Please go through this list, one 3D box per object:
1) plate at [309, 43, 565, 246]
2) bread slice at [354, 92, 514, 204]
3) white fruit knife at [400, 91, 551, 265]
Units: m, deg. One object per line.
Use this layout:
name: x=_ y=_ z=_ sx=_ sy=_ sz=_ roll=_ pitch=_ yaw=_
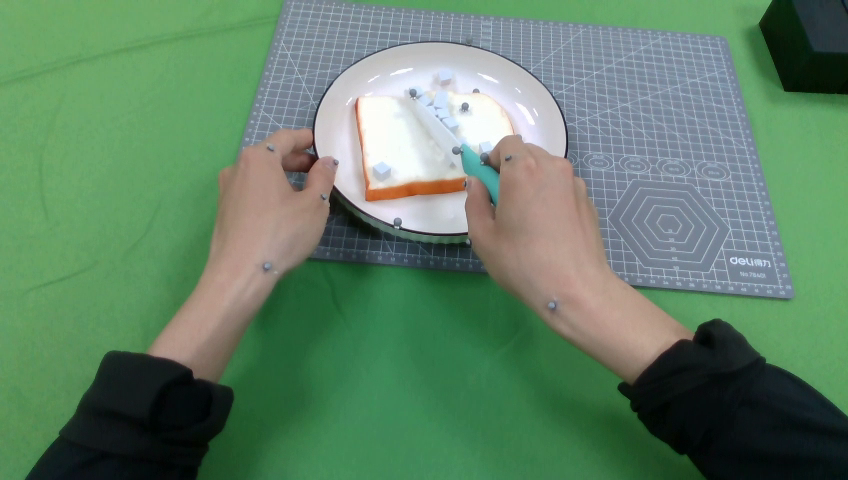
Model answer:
plate: x=0.011 y=-0.080 z=0.504 sx=0.209 sy=0.038 sz=0.207 roll=2 pitch=59 yaw=-2
bread slice: x=0.009 y=-0.084 z=0.509 sx=0.132 sy=0.019 sz=0.104 roll=-9 pitch=60 yaw=-7
white fruit knife: x=0.030 y=-0.058 z=0.454 sx=0.016 sy=0.027 sz=0.205 roll=-19 pitch=50 yaw=-24
